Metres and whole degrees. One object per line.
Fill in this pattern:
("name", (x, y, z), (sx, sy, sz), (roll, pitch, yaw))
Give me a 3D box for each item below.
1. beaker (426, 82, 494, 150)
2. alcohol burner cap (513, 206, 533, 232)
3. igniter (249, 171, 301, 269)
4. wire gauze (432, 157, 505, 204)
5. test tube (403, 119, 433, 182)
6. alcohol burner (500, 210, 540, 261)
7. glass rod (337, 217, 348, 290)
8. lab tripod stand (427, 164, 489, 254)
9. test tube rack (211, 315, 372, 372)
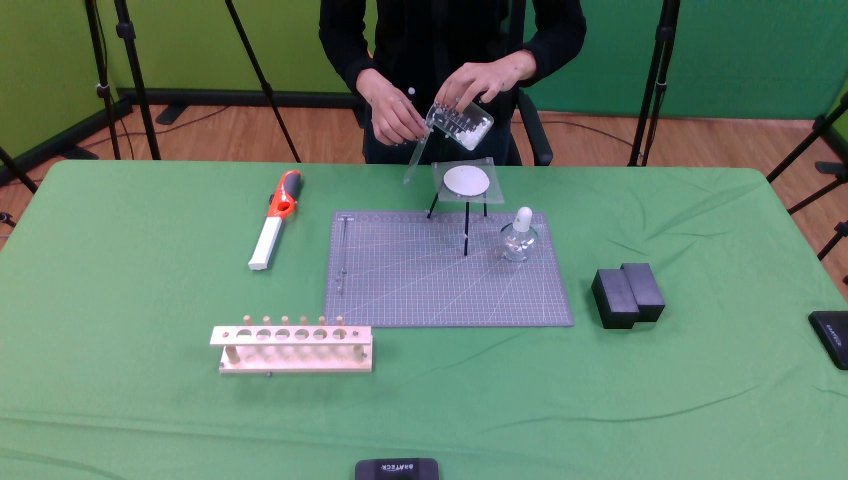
("beaker", (0.063, -0.210, 1.050), (0.100, 0.084, 0.074), (37, 38, 2))
("alcohol burner cap", (0.186, -0.042, 1.134), (0.034, 0.048, 0.033), (6, 41, -5))
("igniter", (-0.297, -0.049, 1.221), (0.057, 0.025, 0.275), (-1, 45, 9))
("wire gauze", (0.081, -0.112, 1.137), (0.125, 0.011, 0.120), (-2, 48, -6))
("test tube", (-0.013, -0.163, 1.128), (0.017, 0.151, 0.017), (12, 46, -13))
("alcohol burner", (0.185, -0.016, 1.159), (0.078, 0.120, 0.077), (2, 48, -2))
("glass rod", (-0.158, 0.021, 1.171), (0.008, 0.008, 0.198), (1, 43, -2))
("lab tripod stand", (0.078, -0.068, 1.188), (0.148, 0.132, 0.147), (3, 47, -3))
("test tube rack", (-0.208, 0.163, 0.982), (0.242, 0.085, 0.066), (1, 46, -4))
